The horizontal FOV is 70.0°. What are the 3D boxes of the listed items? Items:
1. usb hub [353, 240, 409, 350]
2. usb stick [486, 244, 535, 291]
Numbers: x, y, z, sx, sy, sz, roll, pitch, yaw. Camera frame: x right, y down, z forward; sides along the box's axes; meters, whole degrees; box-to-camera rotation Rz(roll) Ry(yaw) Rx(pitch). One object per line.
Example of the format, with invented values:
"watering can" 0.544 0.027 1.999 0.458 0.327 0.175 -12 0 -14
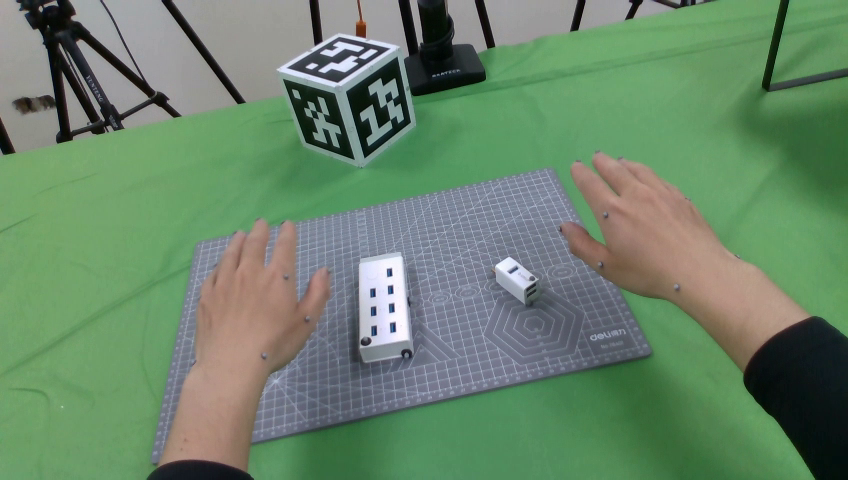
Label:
"usb hub" -0.045 0.052 0.609 0.049 0.025 0.124 -11 42 2
"usb stick" 0.084 0.024 0.609 0.021 0.027 0.058 -33 44 -19
